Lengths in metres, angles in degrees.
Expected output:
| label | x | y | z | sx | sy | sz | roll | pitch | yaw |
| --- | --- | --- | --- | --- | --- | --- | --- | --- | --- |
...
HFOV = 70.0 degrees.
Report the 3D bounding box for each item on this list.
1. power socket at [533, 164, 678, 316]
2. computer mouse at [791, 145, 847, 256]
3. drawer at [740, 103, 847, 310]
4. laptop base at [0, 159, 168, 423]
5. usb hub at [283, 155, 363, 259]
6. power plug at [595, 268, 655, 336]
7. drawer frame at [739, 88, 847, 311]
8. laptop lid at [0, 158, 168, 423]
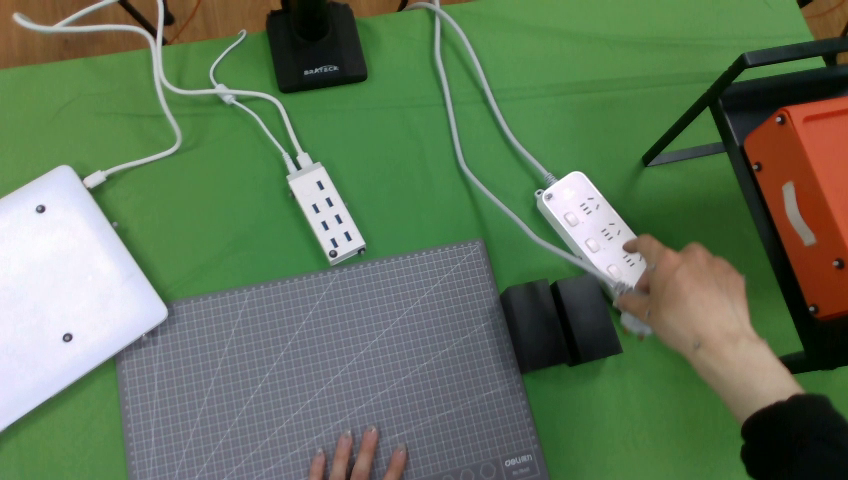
| label | x | y | z | sx | sy | sz | roll | pitch | yaw |
| --- | --- | --- | --- | --- | --- | --- | --- | --- | --- |
| power socket | 0.230 | 0.000 | 0.772 | 0.072 | 0.033 | 0.225 | -34 | 79 | -15 |
| computer mouse | 0.423 | -0.043 | 0.607 | 0.063 | 0.041 | 0.116 | -16 | 74 | -6 |
| drawer | 0.452 | -0.050 | 0.597 | 0.212 | 0.073 | 0.193 | -11 | 75 | -10 |
| laptop base | -0.501 | 0.089 | 0.680 | 0.354 | 0.023 | 0.235 | -36 | 83 | -14 |
| usb hub | -0.126 | -0.042 | 0.751 | 0.049 | 0.025 | 0.124 | -27 | 78 | -12 |
| power plug | 0.208 | 0.063 | 0.627 | 0.035 | 0.053 | 0.071 | -14 | 41 | -19 |
| drawer frame | 0.456 | -0.052 | 0.597 | 0.214 | 0.083 | 0.200 | -12 | 75 | -10 |
| laptop lid | -0.498 | 0.087 | 0.667 | 0.356 | 0.013 | 0.241 | -34 | 82 | -14 |
